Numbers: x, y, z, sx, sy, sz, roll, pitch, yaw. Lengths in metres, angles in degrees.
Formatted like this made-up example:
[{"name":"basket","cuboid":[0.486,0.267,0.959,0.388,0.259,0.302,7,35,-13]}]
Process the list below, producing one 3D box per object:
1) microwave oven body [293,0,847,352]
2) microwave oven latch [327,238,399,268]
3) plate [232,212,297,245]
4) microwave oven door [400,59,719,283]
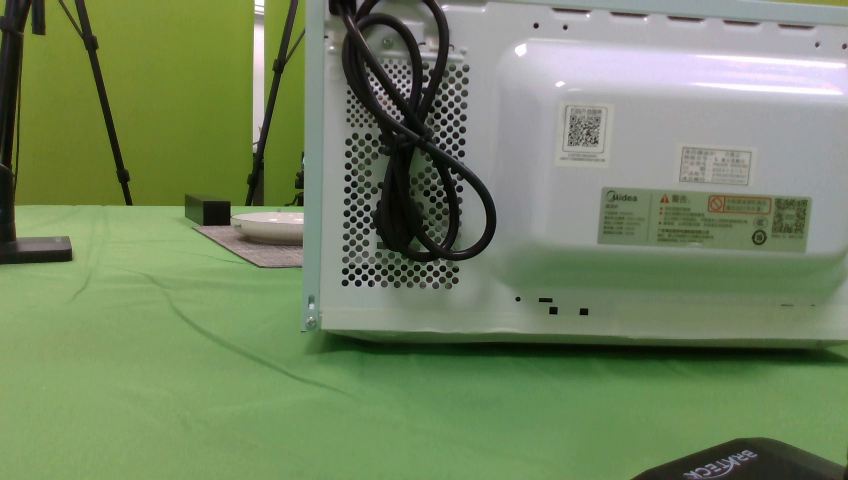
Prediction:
[{"name":"microwave oven body","cuboid":[0.122,-0.055,0.550,0.442,0.260,0.325,3,7,-5]},{"name":"microwave oven latch","cuboid":[-0.069,0.015,0.694,0.079,0.029,0.030,3,7,-3]},{"name":"plate","cuboid":[-0.214,-0.019,1.018,0.208,0.039,0.207,2,7,0]},{"name":"microwave oven door","cuboid":[0.155,-0.078,0.706,0.356,0.243,0.039,2,8,-2]}]
